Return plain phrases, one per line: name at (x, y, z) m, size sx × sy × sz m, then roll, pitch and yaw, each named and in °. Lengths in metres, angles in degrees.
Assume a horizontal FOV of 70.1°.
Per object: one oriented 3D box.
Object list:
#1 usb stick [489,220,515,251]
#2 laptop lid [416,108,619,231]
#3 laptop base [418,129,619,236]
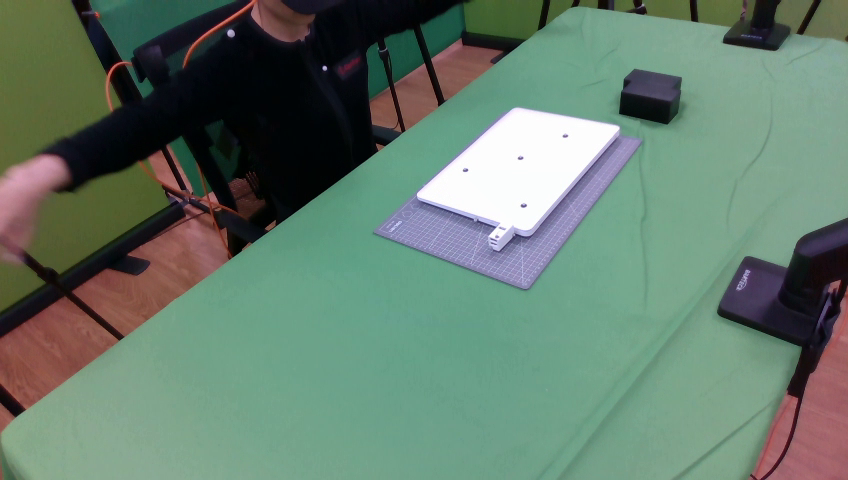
usb stick at (0.127, -0.011, 0.954) m, size 0.021 × 0.027 × 0.059 m, roll 22°, pitch 47°, yaw 34°
laptop lid at (0.177, -0.147, 1.106) m, size 0.239 × 0.013 × 0.357 m, roll 21°, pitch 48°, yaw 34°
laptop base at (0.180, -0.137, 1.112) m, size 0.233 × 0.023 × 0.355 m, roll 19°, pitch 47°, yaw 33°
